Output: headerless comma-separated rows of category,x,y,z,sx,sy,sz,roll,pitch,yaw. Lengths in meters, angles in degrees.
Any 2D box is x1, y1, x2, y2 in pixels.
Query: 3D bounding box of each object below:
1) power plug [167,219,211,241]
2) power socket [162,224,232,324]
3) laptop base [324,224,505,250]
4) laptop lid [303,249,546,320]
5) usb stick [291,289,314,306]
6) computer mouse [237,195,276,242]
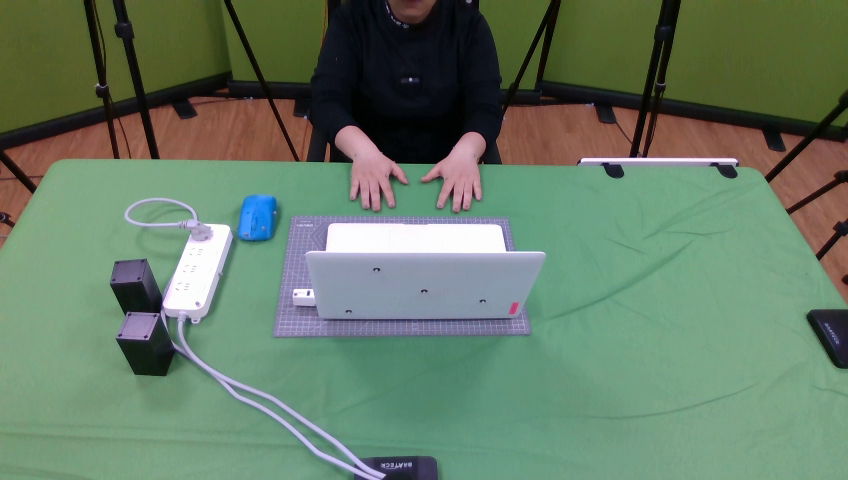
power plug,-0.438,-0.017,1.144,0.072,0.053,0.035,11,44,6
power socket,-0.411,0.052,1.107,0.072,0.033,0.225,3,45,-1
laptop base,-0.014,0.055,1.144,0.355,0.023,0.234,0,42,-4
laptop lid,-0.002,0.077,0.962,0.357,0.242,0.013,1,58,-5
usb stick,-0.203,0.101,1.066,0.059,0.027,0.021,4,45,-6
computer mouse,-0.333,-0.047,1.207,0.063,0.041,0.116,3,51,-5
